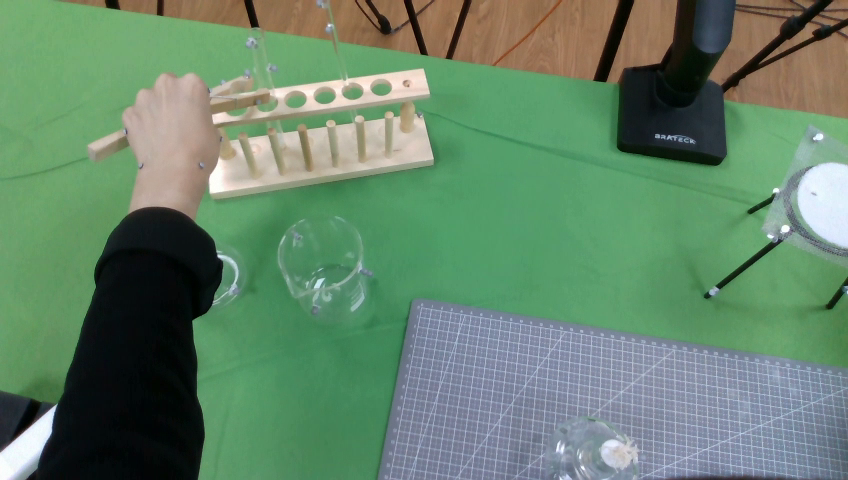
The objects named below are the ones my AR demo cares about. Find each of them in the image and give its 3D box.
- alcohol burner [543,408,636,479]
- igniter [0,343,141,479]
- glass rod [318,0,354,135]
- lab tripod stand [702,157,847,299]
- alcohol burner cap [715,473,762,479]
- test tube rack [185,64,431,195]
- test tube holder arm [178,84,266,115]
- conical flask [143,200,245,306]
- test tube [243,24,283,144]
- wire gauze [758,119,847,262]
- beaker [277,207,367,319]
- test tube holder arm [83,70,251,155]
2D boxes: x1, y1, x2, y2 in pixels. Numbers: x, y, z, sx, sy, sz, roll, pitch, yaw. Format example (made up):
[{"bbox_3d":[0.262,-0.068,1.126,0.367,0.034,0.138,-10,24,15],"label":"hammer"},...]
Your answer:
[{"bbox_3d":[0.139,0.173,0.494,0.078,0.120,0.077,2,63,-3],"label":"alcohol burner"},{"bbox_3d":[-0.344,0.190,0.470,0.057,0.025,0.276,35,68,25],"label":"igniter"},{"bbox_3d":[-0.086,-0.173,0.598,0.008,0.201,0.008,-2,57,3],"label":"glass rod"},{"bbox_3d":[0.355,-0.005,0.577,0.148,0.132,0.147,1,63,-3],"label":"lab tripod stand"},{"bbox_3d":[0.274,0.214,0.518,0.034,0.048,0.033,1,65,-2],"label":"alcohol burner cap"},{"bbox_3d":[-0.117,-0.116,0.644,0.243,0.086,0.066,-10,65,-6],"label":"test tube rack"},{"bbox_3d":[-0.187,-0.130,0.561,0.088,0.015,0.010,-23,65,-40],"label":"test tube holder arm"},{"bbox_3d":[-0.217,0.008,0.561,0.075,0.123,0.074,1,64,-1],"label":"conical flask"},{"bbox_3d":[-0.158,-0.148,0.603,0.017,0.151,0.017,2,58,-3],"label":"test tube"},{"bbox_3d":[0.363,-0.035,0.517,0.121,0.011,0.124,29,68,10],"label":"wire gauze"},{"bbox_3d":[-0.093,0.029,0.568,0.074,0.101,0.083,23,66,10],"label":"beaker"},{"bbox_3d":[-0.217,-0.115,0.532,0.013,0.015,0.178,38,44,9],"label":"test tube holder arm"}]
